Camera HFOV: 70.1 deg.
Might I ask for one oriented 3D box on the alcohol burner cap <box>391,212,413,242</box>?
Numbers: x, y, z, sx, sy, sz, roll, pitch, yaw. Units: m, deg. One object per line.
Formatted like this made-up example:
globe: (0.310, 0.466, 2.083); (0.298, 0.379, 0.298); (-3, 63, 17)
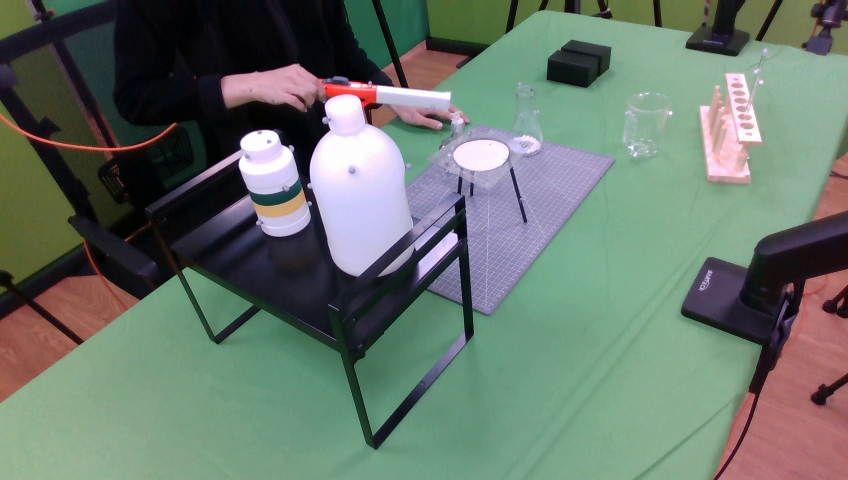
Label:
alcohol burner cap: (-0.038, -0.023, 0.989); (0.034, 0.048, 0.033); (-5, 40, 4)

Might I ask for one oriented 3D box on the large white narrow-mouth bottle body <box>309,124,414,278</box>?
large white narrow-mouth bottle body: (-0.068, -0.057, 0.645); (0.102, 0.195, 0.101); (-4, 42, 4)

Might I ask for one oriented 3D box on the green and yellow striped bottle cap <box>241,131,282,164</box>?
green and yellow striped bottle cap: (-0.187, -0.107, 0.695); (0.045, 0.020, 0.045); (-3, 39, 3)

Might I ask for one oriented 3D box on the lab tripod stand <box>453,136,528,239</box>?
lab tripod stand: (0.094, -0.086, 0.974); (0.148, 0.132, 0.147); (-4, 43, 4)

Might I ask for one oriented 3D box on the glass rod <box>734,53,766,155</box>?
glass rod: (0.540, -0.220, 1.007); (0.008, 0.201, 0.008); (-5, 45, 6)

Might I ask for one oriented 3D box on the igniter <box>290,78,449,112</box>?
igniter: (-0.095, -0.249, 1.048); (0.277, 0.057, 0.025); (5, 51, -3)

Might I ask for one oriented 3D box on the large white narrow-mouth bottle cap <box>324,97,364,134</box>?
large white narrow-mouth bottle cap: (-0.077, -0.121, 0.585); (0.038, 0.024, 0.037); (-3, 42, 4)

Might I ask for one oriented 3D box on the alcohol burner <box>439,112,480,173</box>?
alcohol burner: (0.064, -0.183, 1.107); (0.078, 0.119, 0.077); (-4, 43, 4)

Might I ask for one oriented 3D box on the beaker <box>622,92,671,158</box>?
beaker: (0.402, -0.210, 1.106); (0.074, 0.101, 0.083); (-9, 40, -2)

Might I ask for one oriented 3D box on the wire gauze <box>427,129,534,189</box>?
wire gauze: (0.086, -0.131, 0.923); (0.124, 0.011, 0.122); (26, 52, 33)

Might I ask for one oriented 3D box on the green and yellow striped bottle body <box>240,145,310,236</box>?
green and yellow striped bottle body: (-0.181, -0.068, 0.729); (0.063, 0.120, 0.063); (-4, 40, 4)

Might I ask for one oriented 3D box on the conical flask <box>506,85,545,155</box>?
conical flask: (0.190, -0.227, 1.134); (0.075, 0.122, 0.075); (-4, 41, 4)

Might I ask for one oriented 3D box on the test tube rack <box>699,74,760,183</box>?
test tube rack: (0.547, -0.208, 1.095); (0.066, 0.085, 0.242); (6, 42, 16)
